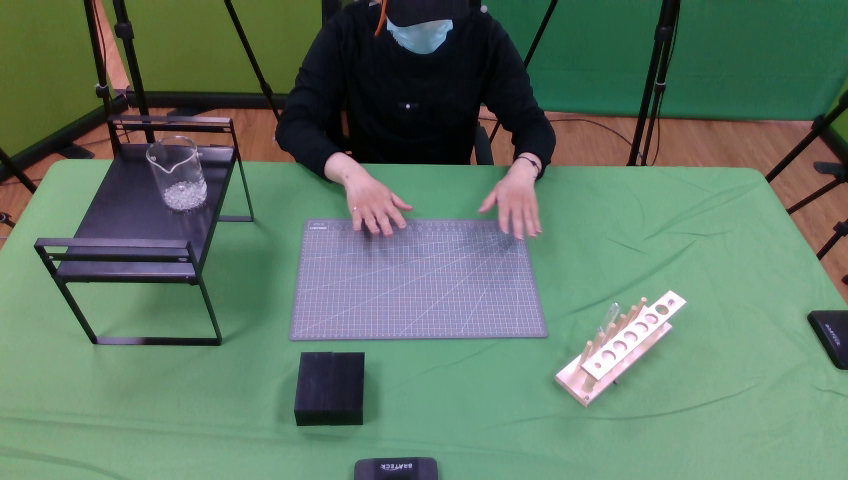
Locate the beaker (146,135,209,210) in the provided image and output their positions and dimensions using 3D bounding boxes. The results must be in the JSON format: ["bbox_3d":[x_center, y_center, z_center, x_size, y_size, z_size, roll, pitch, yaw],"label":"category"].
[{"bbox_3d":[-0.387,-0.102,0.961,0.074,0.101,0.083,-5,48,-7],"label":"beaker"}]

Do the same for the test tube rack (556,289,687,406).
[{"bbox_3d":[0.332,0.165,1.014,0.242,0.085,0.066,-31,55,-28],"label":"test tube rack"}]

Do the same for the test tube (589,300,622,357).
[{"bbox_3d":[0.288,0.144,0.970,0.017,0.151,0.017,2,49,-2],"label":"test tube"}]
